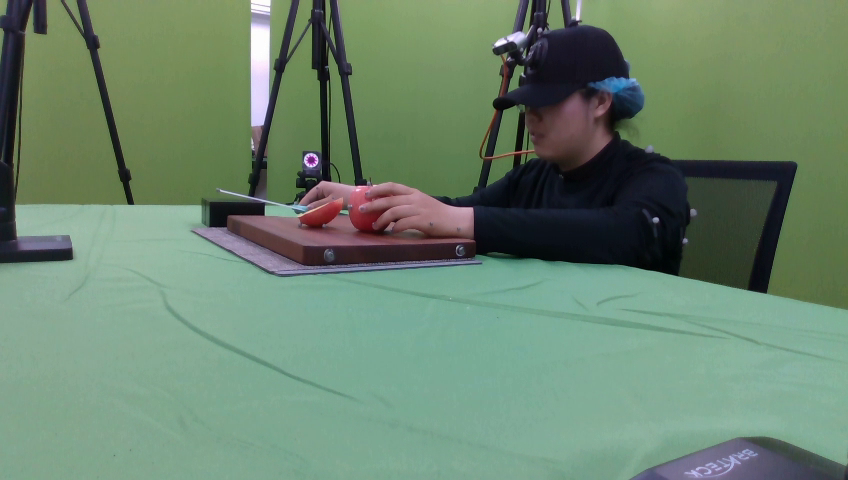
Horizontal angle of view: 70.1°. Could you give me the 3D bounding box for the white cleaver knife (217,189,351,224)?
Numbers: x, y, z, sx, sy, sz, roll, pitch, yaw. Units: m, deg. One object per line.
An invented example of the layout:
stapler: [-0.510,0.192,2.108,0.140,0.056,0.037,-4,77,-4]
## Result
white cleaver knife: [-0.276,-0.065,1.233,0.288,0.021,0.065,11,9,-29]

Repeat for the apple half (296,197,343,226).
apple half: [-0.163,-0.041,0.979,0.081,0.033,0.081,-21,7,3]

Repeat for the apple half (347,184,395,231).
apple half: [-0.075,-0.049,0.948,0.053,0.074,0.081,13,8,34]
